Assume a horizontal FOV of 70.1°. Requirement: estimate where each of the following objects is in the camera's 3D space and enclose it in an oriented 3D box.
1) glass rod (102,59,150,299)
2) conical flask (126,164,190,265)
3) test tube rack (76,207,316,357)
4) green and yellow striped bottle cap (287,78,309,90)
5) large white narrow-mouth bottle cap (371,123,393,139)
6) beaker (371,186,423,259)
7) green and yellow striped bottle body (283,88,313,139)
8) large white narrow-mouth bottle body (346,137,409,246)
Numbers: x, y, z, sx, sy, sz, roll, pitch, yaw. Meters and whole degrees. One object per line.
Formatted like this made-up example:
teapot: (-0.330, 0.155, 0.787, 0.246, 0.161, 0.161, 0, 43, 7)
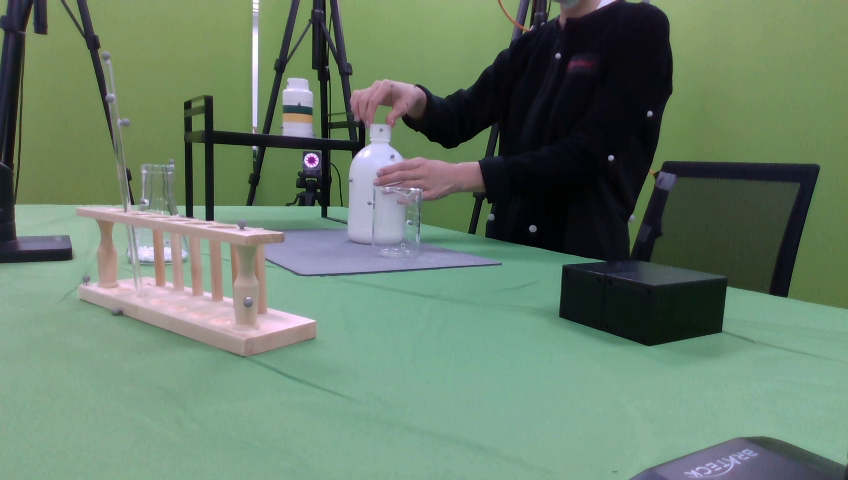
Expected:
glass rod: (-0.243, -0.045, 0.496, 0.008, 0.199, 0.008, -4, 13, 1)
conical flask: (-0.332, -0.033, 0.756, 0.075, 0.122, 0.075, 2, 7, 0)
test tube rack: (-0.196, 0.023, 0.500, 0.241, 0.085, 0.067, 8, 9, 36)
green and yellow striped bottle cap: (-0.265, -0.326, 1.268, 0.045, 0.020, 0.045, 4, 6, 0)
large white narrow-mouth bottle cap: (-0.069, -0.180, 0.997, 0.038, 0.024, 0.037, 4, 8, 0)
beaker: (-0.038, -0.025, 0.868, 0.074, 0.100, 0.083, -1, 8, -22)
green and yellow striped bottle body: (-0.266, -0.275, 1.275, 0.063, 0.119, 0.063, 3, 7, 0)
large white narrow-mouth bottle body: (-0.076, -0.091, 1.010, 0.102, 0.194, 0.102, 4, 8, 0)
